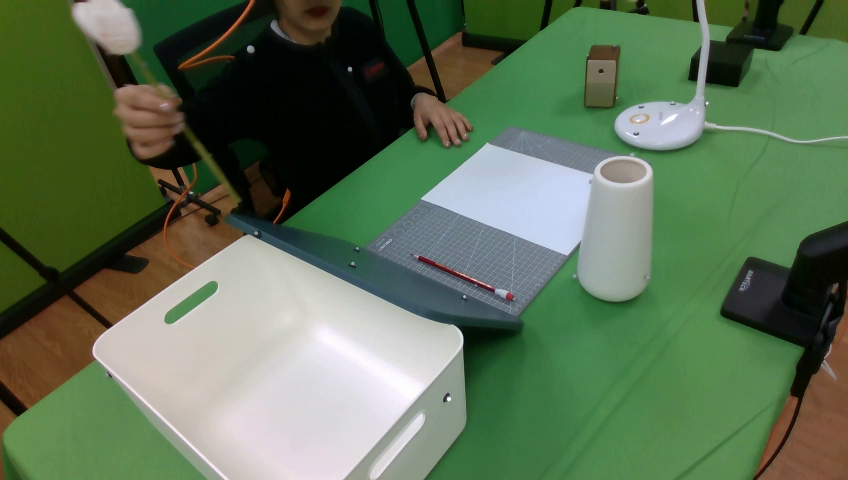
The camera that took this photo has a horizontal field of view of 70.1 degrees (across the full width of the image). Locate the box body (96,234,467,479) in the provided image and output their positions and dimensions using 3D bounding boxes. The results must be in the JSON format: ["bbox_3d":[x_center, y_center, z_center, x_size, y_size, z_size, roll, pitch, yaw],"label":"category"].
[{"bbox_3d":[-0.155,0.169,0.707,0.361,0.161,0.255,23,49,33],"label":"box body"}]

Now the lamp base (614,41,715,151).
[{"bbox_3d":[0.449,-0.277,1.106,0.179,0.181,0.160,1,41,9],"label":"lamp base"}]

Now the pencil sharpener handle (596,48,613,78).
[{"bbox_3d":[0.383,-0.378,1.276,0.036,0.068,0.030,2,41,22],"label":"pencil sharpener handle"}]

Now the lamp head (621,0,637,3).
[{"bbox_3d":[0.319,-0.453,0.962,0.113,0.123,0.112,20,33,-13],"label":"lamp head"}]

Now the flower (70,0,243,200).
[{"bbox_3d":[-0.290,-0.139,0.723,0.044,0.363,0.038,-10,63,4],"label":"flower"}]

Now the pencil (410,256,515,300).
[{"bbox_3d":[0.054,0.054,0.918,0.192,0.012,0.012,21,48,33],"label":"pencil"}]

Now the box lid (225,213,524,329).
[{"bbox_3d":[-0.066,0.042,0.816,0.368,0.265,0.015,22,93,32],"label":"box lid"}]

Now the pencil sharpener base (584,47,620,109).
[{"bbox_3d":[0.367,-0.336,1.248,0.061,0.107,0.076,6,42,19],"label":"pencil sharpener base"}]

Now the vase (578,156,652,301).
[{"bbox_3d":[0.261,-0.011,0.812,0.098,0.201,0.097,-4,40,4],"label":"vase"}]
